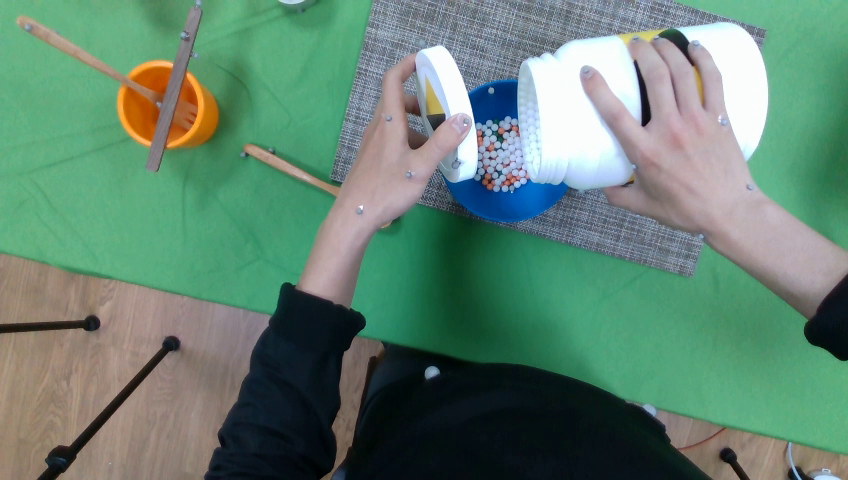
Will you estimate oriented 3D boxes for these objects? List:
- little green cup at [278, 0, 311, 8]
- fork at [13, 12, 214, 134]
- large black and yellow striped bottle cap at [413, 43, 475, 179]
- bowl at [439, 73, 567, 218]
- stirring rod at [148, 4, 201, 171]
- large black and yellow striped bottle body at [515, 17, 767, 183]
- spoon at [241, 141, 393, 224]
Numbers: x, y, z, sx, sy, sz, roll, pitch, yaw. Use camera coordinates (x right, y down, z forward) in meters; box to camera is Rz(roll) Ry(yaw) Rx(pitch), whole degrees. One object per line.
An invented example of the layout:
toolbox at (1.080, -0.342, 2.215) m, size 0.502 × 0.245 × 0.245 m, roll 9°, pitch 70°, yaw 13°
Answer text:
little green cup at (-0.147, -0.291, 0.675) m, size 0.061 × 0.038 × 0.061 m, roll 0°, pitch 95°, yaw 0°
fork at (-0.312, -0.168, 0.629) m, size 0.209 × 0.018 × 0.028 m, roll 30°, pitch 98°, yaw -47°
large black and yellow striped bottle cap at (0.016, -0.109, 0.520) m, size 0.019 × 0.114 × 0.115 m, roll -16°, pitch 95°, yaw -11°
bowl at (0.086, -0.101, 0.675) m, size 0.151 × 0.076 × 0.151 m, roll 0°, pitch 96°, yaw -1°
stirring rod at (-0.259, -0.157, 0.628) m, size 0.014 × 0.006 × 0.176 m, roll 16°, pitch 95°, yaw -1°
large black and yellow striped bottle body at (0.181, -0.120, 0.537) m, size 0.184 × 0.130 × 0.131 m, roll -7°, pitch 95°, yaw -1°
spoon at (-0.125, -0.072, 0.705) m, size 0.194 × 0.021 × 0.042 m, roll 25°, pitch 107°, yaw -4°
